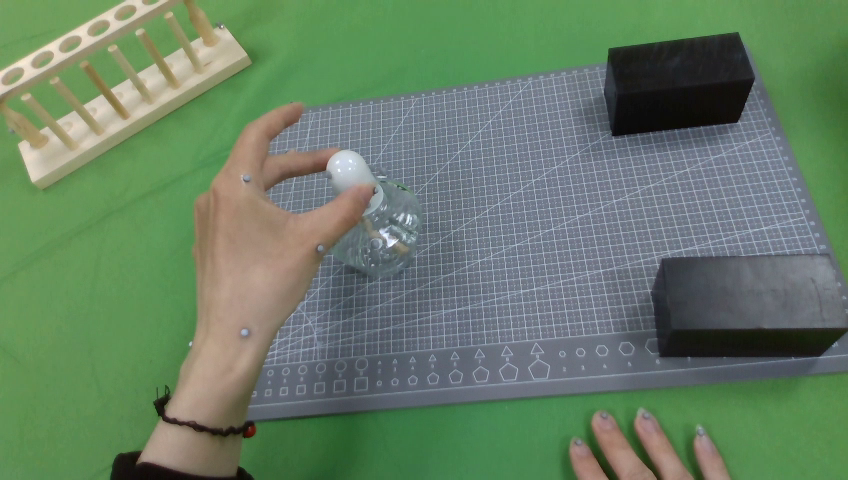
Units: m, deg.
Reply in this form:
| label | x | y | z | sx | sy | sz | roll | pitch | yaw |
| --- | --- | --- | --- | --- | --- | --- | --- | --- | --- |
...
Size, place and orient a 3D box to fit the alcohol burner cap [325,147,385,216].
| label | x | y | z | sx | sy | sz | roll | pitch | yaw |
| --- | --- | --- | --- | --- | --- | --- | --- | --- | --- |
| alcohol burner cap | -0.049 | -0.043 | 0.415 | 0.034 | 0.048 | 0.033 | -9 | 54 | 12 |

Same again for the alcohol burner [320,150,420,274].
| label | x | y | z | sx | sy | sz | roll | pitch | yaw |
| --- | --- | --- | --- | --- | --- | --- | --- | --- | --- |
| alcohol burner | -0.044 | -0.025 | 0.446 | 0.078 | 0.120 | 0.077 | -5 | 58 | 9 |

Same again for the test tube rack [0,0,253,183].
| label | x | y | z | sx | sy | sz | roll | pitch | yaw |
| --- | --- | --- | --- | --- | --- | --- | --- | --- | --- |
| test tube rack | -0.302 | -0.164 | 0.596 | 0.242 | 0.086 | 0.066 | -34 | 60 | -9 |
